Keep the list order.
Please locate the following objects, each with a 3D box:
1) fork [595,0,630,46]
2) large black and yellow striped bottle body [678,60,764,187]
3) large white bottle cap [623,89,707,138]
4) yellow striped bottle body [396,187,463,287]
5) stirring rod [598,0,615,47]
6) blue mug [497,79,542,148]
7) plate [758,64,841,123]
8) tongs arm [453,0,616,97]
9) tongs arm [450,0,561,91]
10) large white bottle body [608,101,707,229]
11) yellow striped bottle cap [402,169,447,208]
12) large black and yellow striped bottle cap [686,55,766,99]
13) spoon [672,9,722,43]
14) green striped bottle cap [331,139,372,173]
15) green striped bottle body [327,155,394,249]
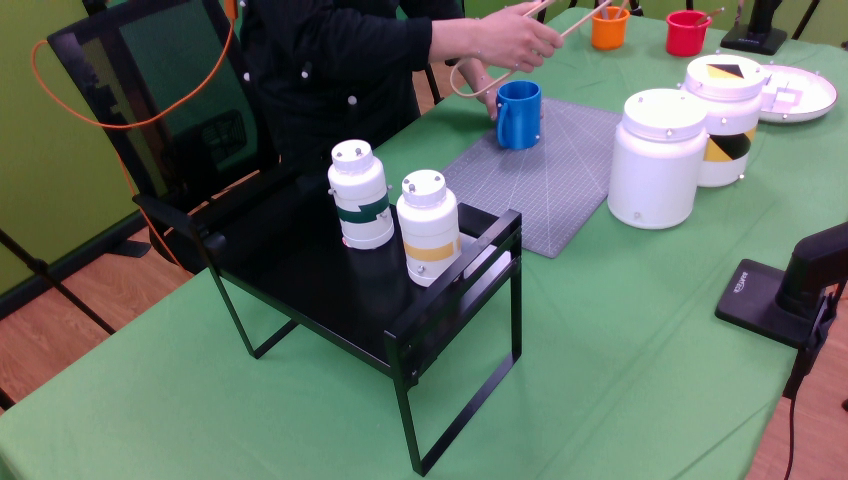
[{"bbox_3d":[0.480,-0.556,1.453,0.028,0.019,0.207,41,103,40],"label":"fork"},{"bbox_3d":[0.482,-0.196,1.007,0.131,0.185,0.130,-4,41,4],"label":"large black and yellow striped bottle body"},{"bbox_3d":[0.352,-0.187,0.886,0.115,0.018,0.114,-4,41,4],"label":"large white bottle cap"},{"bbox_3d":[0.006,-0.013,0.638,0.063,0.121,0.062,-5,41,4],"label":"yellow striped bottle body"},{"bbox_3d":[0.437,-0.551,1.462,0.014,0.006,0.175,-11,83,1],"label":"stirring rod"},{"bbox_3d":[0.175,-0.234,1.155,0.081,0.106,0.117,25,51,32],"label":"blue mug"},{"bbox_3d":[0.694,-0.283,1.189,0.207,0.039,0.206,-4,40,4],"label":"plate"},{"bbox_3d":[0.217,-0.336,0.973,0.387,0.028,0.028,-33,7,5],"label":"tongs arm"},{"bbox_3d":[0.203,-0.358,0.972,0.384,0.051,0.026,-29,4,4],"label":"tongs arm"},{"bbox_3d":[0.361,-0.124,0.941,0.130,0.185,0.130,-5,41,4],"label":"large white bottle body"},{"bbox_3d":[0.000,-0.052,0.604,0.044,0.019,0.044,-5,42,5],"label":"yellow striped bottle cap"},{"bbox_3d":[0.474,-0.258,0.952,0.115,0.019,0.114,-5,41,5],"label":"large black and yellow striped bottle cap"},{"bbox_3d":[0.606,-0.476,1.345,0.042,0.021,0.193,-6,-3,-2],"label":"spoon"},{"bbox_3d":[-0.080,-0.093,0.665,0.044,0.020,0.044,-3,41,4],"label":"green striped bottle cap"},{"bbox_3d":[-0.073,-0.053,0.699,0.063,0.120,0.063,-4,41,4],"label":"green striped bottle body"}]
